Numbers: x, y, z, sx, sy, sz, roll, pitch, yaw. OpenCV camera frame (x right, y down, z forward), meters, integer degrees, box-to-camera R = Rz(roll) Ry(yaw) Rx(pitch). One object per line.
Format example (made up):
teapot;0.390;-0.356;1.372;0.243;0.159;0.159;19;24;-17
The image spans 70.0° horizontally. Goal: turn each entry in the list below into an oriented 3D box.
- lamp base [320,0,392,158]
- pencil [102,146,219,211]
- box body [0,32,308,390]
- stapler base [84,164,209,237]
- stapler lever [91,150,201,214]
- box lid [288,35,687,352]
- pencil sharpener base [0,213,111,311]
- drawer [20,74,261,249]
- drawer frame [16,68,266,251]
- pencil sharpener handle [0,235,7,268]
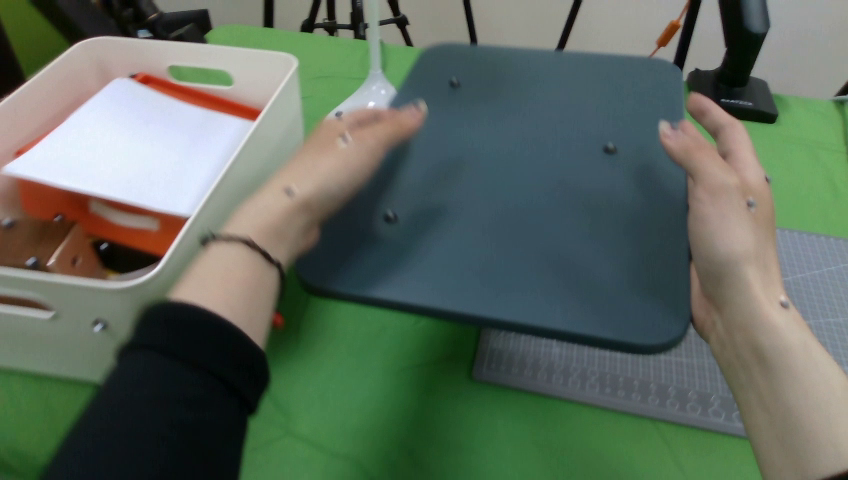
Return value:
lamp base;-0.061;-0.216;0.779;0.161;0.182;0.177;-7;41;-9
pencil;-0.281;-0.065;0.639;0.192;0.012;0.012;25;48;26
box body;-0.285;-0.048;0.605;0.254;0.162;0.361;7;44;5
stapler base;-0.279;-0.045;0.613;0.130;0.024;0.041;26;34;10
stapler lever;-0.274;-0.064;0.599;0.117;0.040;0.027;27;34;9
box lid;0.073;-0.073;0.496;0.262;0.015;0.369;9;45;12
pencil sharpener base;-0.341;0.033;0.548;0.077;0.108;0.061;2;43;1
drawer;-0.259;-0.083;0.638;0.195;0.074;0.210;17;35;-3
drawer frame;-0.260;-0.085;0.641;0.202;0.083;0.212;17;35;-4
pencil sharpener handle;-0.392;0.026;0.532;0.030;0.068;0.036;2;10;1
